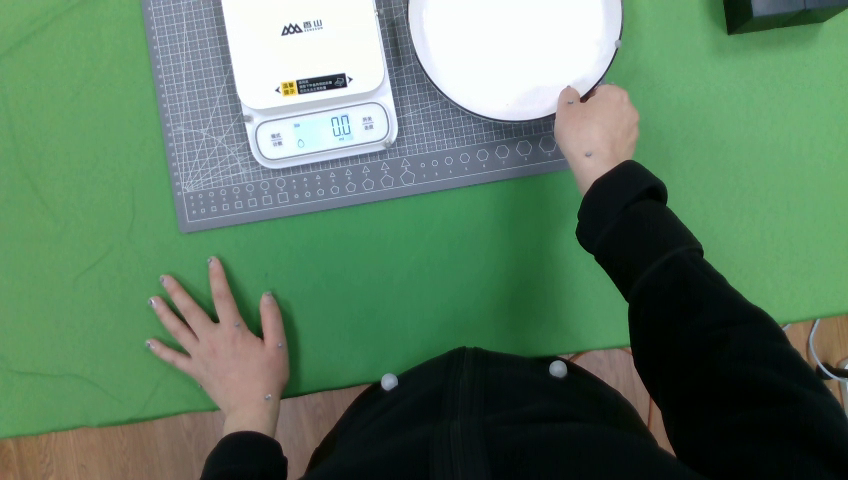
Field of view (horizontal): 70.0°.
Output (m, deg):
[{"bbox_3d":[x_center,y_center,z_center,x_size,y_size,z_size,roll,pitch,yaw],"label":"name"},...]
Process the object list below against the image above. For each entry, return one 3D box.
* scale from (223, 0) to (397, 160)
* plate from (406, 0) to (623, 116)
[{"bbox_3d":[-0.114,-0.188,0.598,0.149,0.031,0.201,-10,91,0],"label":"scale"},{"bbox_3d":[0.087,-0.223,0.595,0.209,0.038,0.209,0,90,0],"label":"plate"}]
